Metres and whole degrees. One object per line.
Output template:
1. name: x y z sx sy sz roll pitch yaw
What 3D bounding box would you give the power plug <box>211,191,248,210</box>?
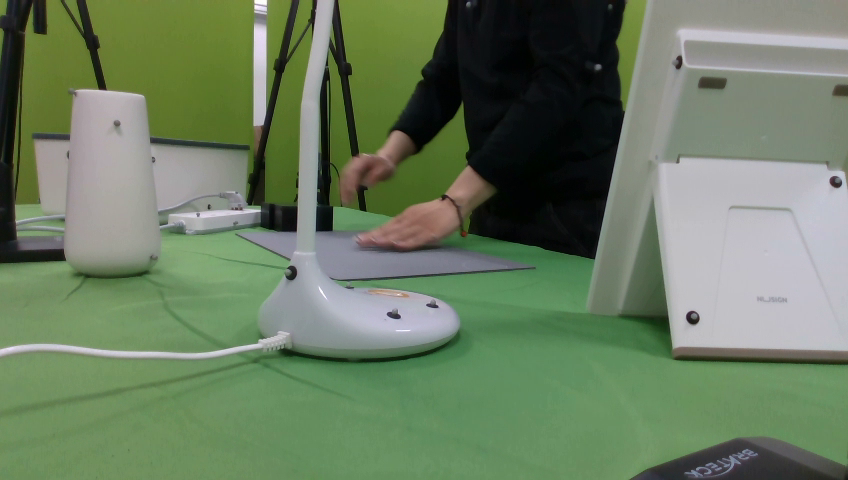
1. power plug: -0.384 -0.072 1.206 0.072 0.052 0.035 1 8 27

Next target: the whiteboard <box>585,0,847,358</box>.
1. whiteboard: 0.269 -0.034 0.466 0.217 0.305 0.143 2 27 -1

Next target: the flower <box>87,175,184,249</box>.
1. flower: -0.610 -0.063 1.291 0.044 0.038 0.361 -5 25 9

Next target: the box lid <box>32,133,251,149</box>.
1. box lid: -0.558 -0.200 1.250 0.263 0.015 0.372 5 8 13

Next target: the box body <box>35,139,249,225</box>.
1. box body: -0.561 -0.127 1.258 0.254 0.160 0.365 4 8 13

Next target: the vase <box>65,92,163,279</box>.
1. vase: -0.347 -0.060 0.673 0.098 0.200 0.098 1 7 0

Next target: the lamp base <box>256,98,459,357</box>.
1. lamp base: -0.055 -0.013 0.463 0.160 0.180 0.180 6 11 27

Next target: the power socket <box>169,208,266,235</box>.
1. power socket: -0.379 -0.038 1.130 0.072 0.032 0.227 4 8 18
